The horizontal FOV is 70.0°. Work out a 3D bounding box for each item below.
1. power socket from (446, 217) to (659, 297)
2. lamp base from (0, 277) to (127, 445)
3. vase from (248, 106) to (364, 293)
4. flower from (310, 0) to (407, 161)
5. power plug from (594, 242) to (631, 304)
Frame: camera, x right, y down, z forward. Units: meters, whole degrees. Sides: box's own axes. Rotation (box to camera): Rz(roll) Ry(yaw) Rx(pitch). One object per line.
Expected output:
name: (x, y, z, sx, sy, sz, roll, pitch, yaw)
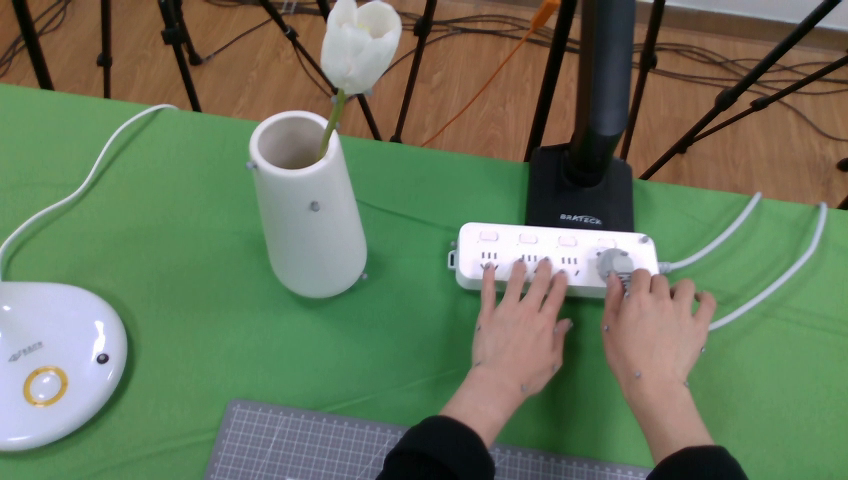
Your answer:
power socket: (0.137, 0.018, 0.643, 0.227, 0.033, 0.071, 4, 60, -1)
lamp base: (-0.367, 0.061, 0.500, 0.178, 0.182, 0.160, 38, 64, 22)
vase: (-0.108, -0.030, 0.560, 0.098, 0.201, 0.097, 1, 58, -1)
flower: (-0.087, -0.062, 0.485, 0.044, 0.362, 0.038, -29, 81, -28)
power plug: (0.186, 0.035, 0.607, 0.035, 0.053, 0.072, 15, 63, 5)
